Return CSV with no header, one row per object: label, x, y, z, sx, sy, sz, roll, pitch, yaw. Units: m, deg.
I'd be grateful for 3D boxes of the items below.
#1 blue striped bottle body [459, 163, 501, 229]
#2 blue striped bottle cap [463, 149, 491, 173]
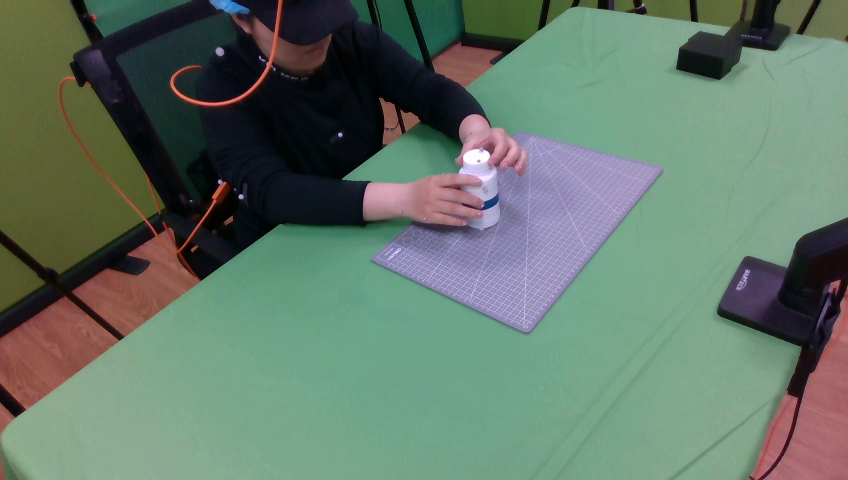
blue striped bottle body,0.091,-0.083,0.983,0.063,0.121,0.063,-6,40,5
blue striped bottle cap,0.082,-0.124,0.948,0.044,0.021,0.044,-3,39,3
